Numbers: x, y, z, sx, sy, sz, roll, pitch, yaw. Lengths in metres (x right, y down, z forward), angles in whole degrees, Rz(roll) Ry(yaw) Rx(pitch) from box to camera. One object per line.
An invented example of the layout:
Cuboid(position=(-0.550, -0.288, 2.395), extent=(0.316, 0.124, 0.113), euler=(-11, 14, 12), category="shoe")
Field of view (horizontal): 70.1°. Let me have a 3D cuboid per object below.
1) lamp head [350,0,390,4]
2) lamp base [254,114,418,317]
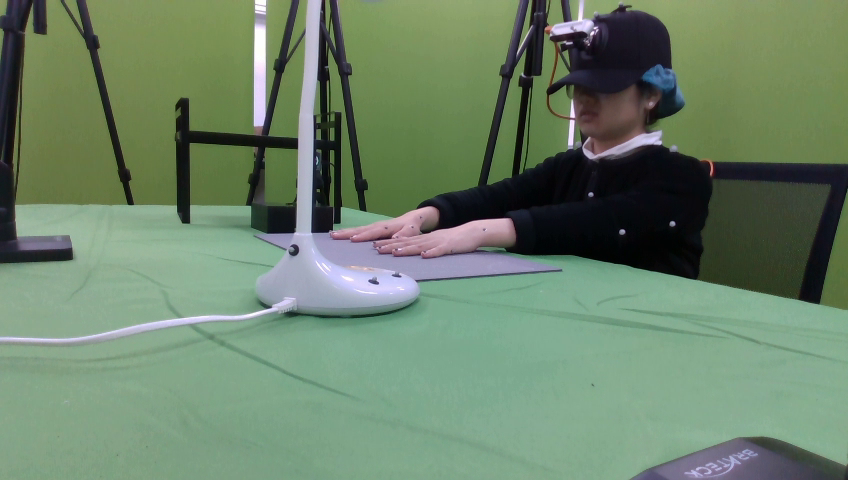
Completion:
Cuboid(position=(-0.053, -0.313, 0.597), extent=(0.112, 0.112, 0.123), euler=(6, -28, 25), category="lamp head")
Cuboid(position=(-0.086, -0.027, 0.576), extent=(0.160, 0.180, 0.179), euler=(4, 10, 16), category="lamp base")
